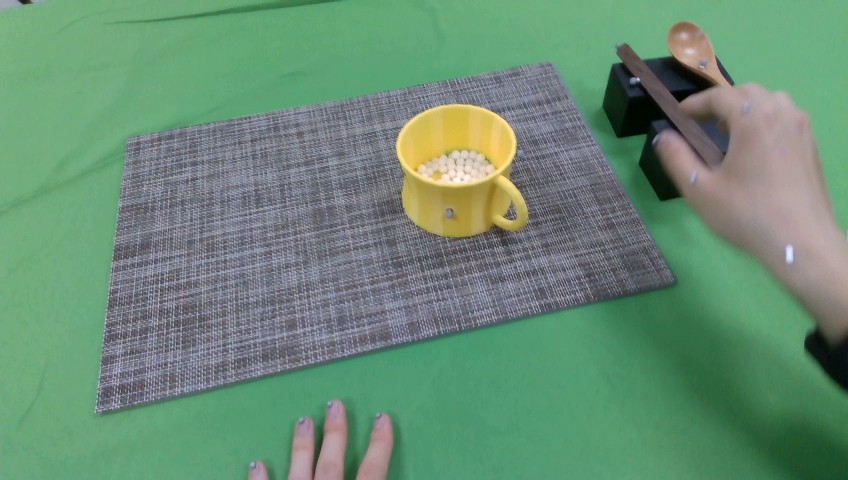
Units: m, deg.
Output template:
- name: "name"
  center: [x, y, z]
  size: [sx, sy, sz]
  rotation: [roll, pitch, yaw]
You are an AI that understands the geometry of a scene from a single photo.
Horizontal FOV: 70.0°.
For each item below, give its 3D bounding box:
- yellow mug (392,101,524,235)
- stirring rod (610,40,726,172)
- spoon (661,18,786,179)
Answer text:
- name: "yellow mug"
  center: [0.035, -0.054, 0.516]
  size: [0.100, 0.064, 0.129]
  rotation: [-39, 61, -23]
- name: "stirring rod"
  center: [0.209, -0.123, 0.532]
  size: [0.014, 0.006, 0.174]
  rotation: [-38, 51, 22]
- name: "spoon"
  center: [0.261, -0.129, 0.530]
  size: [0.042, 0.022, 0.191]
  rotation: [-11, 55, -6]
